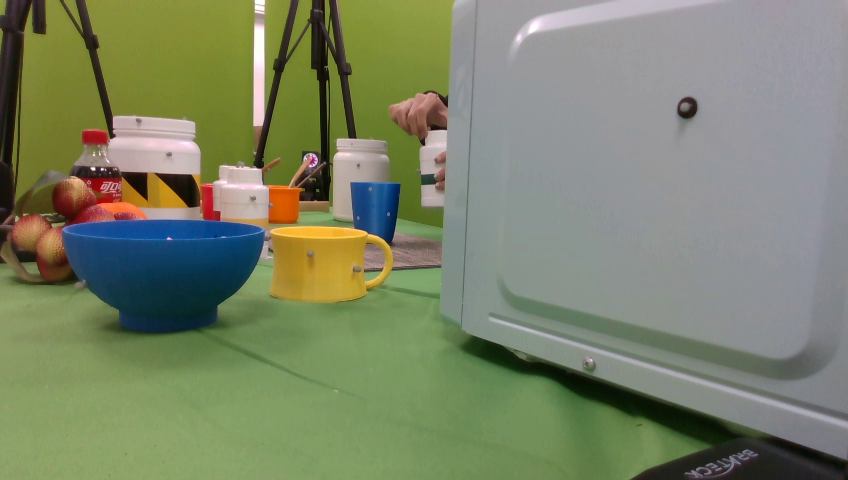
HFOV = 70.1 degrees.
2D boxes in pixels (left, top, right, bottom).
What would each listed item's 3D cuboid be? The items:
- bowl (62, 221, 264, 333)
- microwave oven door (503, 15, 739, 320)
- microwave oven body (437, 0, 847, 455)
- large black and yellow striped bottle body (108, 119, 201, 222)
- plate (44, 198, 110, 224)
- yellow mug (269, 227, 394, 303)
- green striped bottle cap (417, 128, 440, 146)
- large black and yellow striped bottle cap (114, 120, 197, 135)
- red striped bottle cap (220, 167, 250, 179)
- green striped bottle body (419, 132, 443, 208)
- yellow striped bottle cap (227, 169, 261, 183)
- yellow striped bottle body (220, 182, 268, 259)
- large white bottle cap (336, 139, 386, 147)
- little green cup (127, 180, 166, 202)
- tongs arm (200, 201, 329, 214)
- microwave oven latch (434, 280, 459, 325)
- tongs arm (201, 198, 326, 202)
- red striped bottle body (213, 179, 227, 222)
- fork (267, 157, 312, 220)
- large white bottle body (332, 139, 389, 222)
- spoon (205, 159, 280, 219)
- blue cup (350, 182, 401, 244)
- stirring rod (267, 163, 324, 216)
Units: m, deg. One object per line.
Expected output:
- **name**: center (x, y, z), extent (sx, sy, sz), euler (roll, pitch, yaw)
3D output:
- **bowl**: center (-0.209, 0.029, 0.496), extent (0.151, 0.077, 0.151), euler (2, 7, 0)
- **microwave oven door**: center (0.218, -0.065, 0.600), extent (0.358, 0.243, 0.039), euler (-4, 10, -41)
- **microwave oven body**: center (0.279, -0.040, 0.465), extent (0.444, 0.260, 0.324), euler (-3, 9, -41)
- **large black and yellow striped bottle body**: center (-0.412, -0.088, 0.930), extent (0.131, 0.184, 0.130), euler (3, 7, 0)
- **plate**: center (-0.617, -0.056, 1.179), extent (0.209, 0.038, 0.209), euler (3, 7, 0)
- **yellow mug**: center (-0.094, 0.023, 0.629), extent (0.131, 0.064, 0.099), euler (0, 6, -22)
- **green striped bottle cap**: center (0.012, -0.158, 0.964), extent (0.044, 0.020, 0.044), euler (36, 13, -9)
- **large black and yellow striped bottle cap**: center (-0.407, -0.171, 0.920), extent (0.115, 0.019, 0.115), euler (2, 9, 0)
- **red striped bottle cap**: center (-0.282, -0.100, 0.901), extent (0.044, 0.017, 0.044), euler (0, 5, 0)
- **green striped bottle body**: center (0.025, -0.111, 0.969), extent (0.063, 0.119, 0.063), euler (-3, 4, 1)
- **yellow striped bottle cap**: center (-0.243, -0.087, 0.818), extent (0.044, 0.018, 0.044), euler (3, 6, 0)
- **yellow striped bottle body**: center (-0.246, -0.036, 0.825), extent (0.063, 0.120, 0.063), euler (3, 8, 0)
- **large white bottle cap**: center (-0.143, -0.219, 1.375), extent (0.115, 0.018, 0.115), euler (2, 8, 0)
- **little green cup**: center (-0.485, -0.086, 1.061), extent (0.061, 0.038, 0.061), euler (1, 7, 0)
- **tongs arm**: center (-0.378, -0.079, 1.440), extent (0.387, 0.026, 0.050), euler (-4, 7, -44)
- **microwave oven latch**: center (0.044, 0.045, 0.470), extent (0.079, 0.029, 0.030), euler (-2, 8, -39)
- **tongs arm**: center (-0.433, -0.089, 1.508), extent (0.390, 0.028, 0.028), euler (-1, 2, -29)
- **red striped bottle body**: center (-0.284, -0.048, 0.910), extent (0.063, 0.119, 0.063), euler (3, 12, 0)
- **fork**: center (-0.289, -0.116, 1.321), extent (0.028, 0.019, 0.207), euler (6, 51, 19)
- **large white bottle body**: center (-0.145, -0.136, 1.387), extent (0.131, 0.184, 0.130), euler (2, 7, 0)
- **spoon**: center (-0.365, -0.103, 1.214), extent (0.193, 0.021, 0.041), euler (-42, 4, 6)
- **blue cup**: center (-0.082, -0.047, 1.009), extent (0.093, 0.100, 0.092), euler (1, 6, 0)
- **stirring rod**: center (-0.278, -0.105, 1.294), extent (0.176, 0.006, 0.014), euler (-47, 25, -18)
